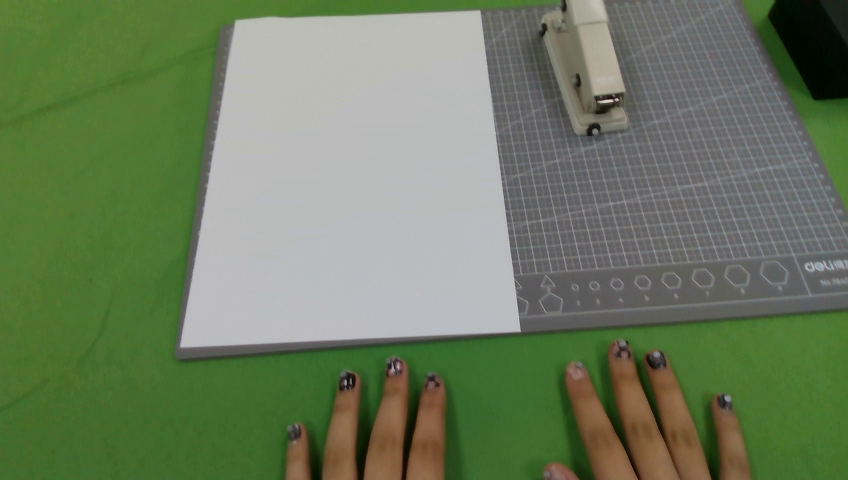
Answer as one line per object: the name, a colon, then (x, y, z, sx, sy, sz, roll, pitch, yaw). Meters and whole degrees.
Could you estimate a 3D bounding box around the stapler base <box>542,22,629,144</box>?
stapler base: (0.127, -0.133, 0.479, 0.041, 0.024, 0.129, -8, 61, -1)

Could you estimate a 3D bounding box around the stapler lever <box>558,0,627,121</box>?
stapler lever: (0.127, -0.145, 0.456, 0.027, 0.040, 0.117, -8, 61, -1)
